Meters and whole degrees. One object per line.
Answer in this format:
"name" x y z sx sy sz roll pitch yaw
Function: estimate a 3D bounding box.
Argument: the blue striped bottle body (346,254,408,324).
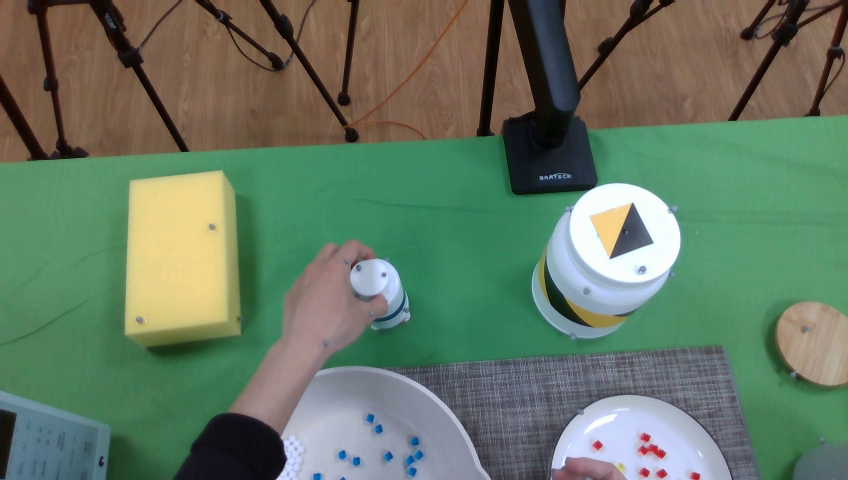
"blue striped bottle body" -0.056 0.057 0.718 0.063 0.121 0.062 -1 70 4

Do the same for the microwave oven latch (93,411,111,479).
"microwave oven latch" -0.367 0.229 0.664 0.030 0.030 0.078 1 67 -1

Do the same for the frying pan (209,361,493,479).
"frying pan" -0.071 0.368 0.595 0.307 0.103 0.483 -5 59 -1

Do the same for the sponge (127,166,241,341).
"sponge" -0.301 0.015 0.765 0.118 0.061 0.205 -9 68 -5

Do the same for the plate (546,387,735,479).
"plate" 0.238 0.272 0.679 0.209 0.038 0.207 0 67 -1

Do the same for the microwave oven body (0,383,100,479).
"microwave oven body" -0.500 0.360 0.500 0.326 0.262 0.438 -3 67 -3

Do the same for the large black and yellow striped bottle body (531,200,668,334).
"large black and yellow striped bottle body" 0.204 0.025 0.709 0.131 0.185 0.130 0 66 -1

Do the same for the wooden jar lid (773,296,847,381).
"wooden jar lid" 0.493 0.124 0.763 0.108 0.021 0.107 1 68 -1

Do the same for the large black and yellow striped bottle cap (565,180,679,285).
"large black and yellow striped bottle cap" 0.206 -0.009 0.629 0.115 0.019 0.114 0 65 0

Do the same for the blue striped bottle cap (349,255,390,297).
"blue striped bottle cap" -0.060 0.040 0.670 0.044 0.021 0.044 -1 69 3

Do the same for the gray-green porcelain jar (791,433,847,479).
"gray-green porcelain jar" 0.470 0.261 0.646 0.106 0.127 0.105 1 67 -1
